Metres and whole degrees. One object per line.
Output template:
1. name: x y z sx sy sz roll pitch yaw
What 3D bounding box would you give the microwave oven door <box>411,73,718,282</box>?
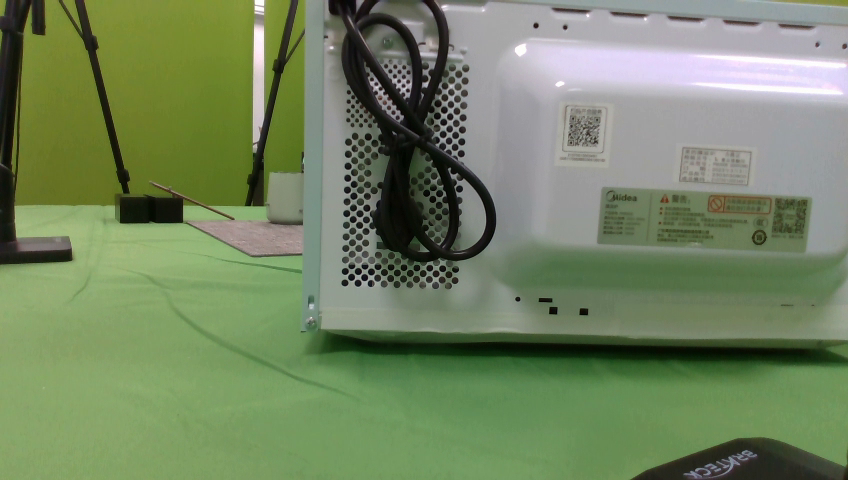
1. microwave oven door: 0.162 -0.084 0.756 0.355 0.243 0.039 4 9 15

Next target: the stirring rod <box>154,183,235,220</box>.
1. stirring rod: -0.472 -0.079 1.252 0.177 0.006 0.014 27 3 -35

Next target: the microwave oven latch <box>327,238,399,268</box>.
1. microwave oven latch: -0.069 0.015 0.694 0.079 0.029 0.030 3 7 -3

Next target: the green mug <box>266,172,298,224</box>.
1. green mug: -0.272 -0.089 1.271 0.092 0.105 0.126 7 8 33

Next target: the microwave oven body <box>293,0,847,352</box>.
1. microwave oven body: 0.122 -0.055 0.550 0.442 0.260 0.325 3 7 -5
